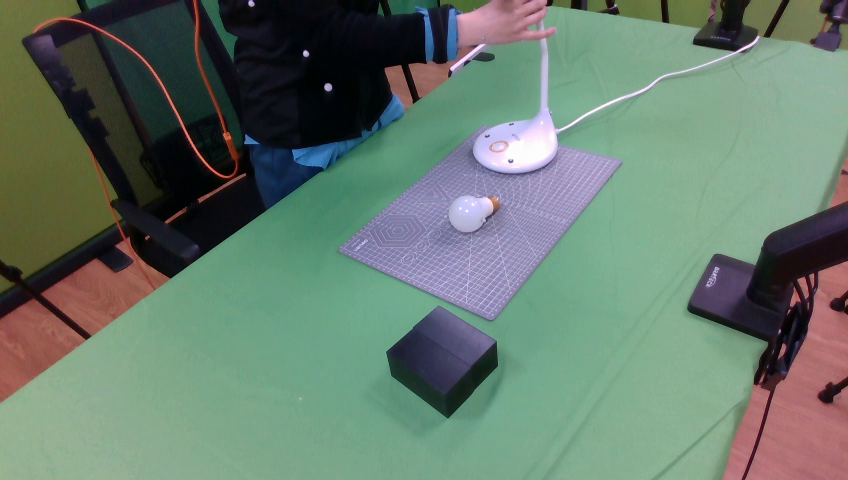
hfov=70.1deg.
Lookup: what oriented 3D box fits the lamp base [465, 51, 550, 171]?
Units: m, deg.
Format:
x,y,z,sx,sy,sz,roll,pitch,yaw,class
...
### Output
x,y,z,sx,sy,sz,roll,pitch,yaw,class
0.159,-0.243,1.103,0.180,0.181,0.159,-31,46,-29,lamp base
